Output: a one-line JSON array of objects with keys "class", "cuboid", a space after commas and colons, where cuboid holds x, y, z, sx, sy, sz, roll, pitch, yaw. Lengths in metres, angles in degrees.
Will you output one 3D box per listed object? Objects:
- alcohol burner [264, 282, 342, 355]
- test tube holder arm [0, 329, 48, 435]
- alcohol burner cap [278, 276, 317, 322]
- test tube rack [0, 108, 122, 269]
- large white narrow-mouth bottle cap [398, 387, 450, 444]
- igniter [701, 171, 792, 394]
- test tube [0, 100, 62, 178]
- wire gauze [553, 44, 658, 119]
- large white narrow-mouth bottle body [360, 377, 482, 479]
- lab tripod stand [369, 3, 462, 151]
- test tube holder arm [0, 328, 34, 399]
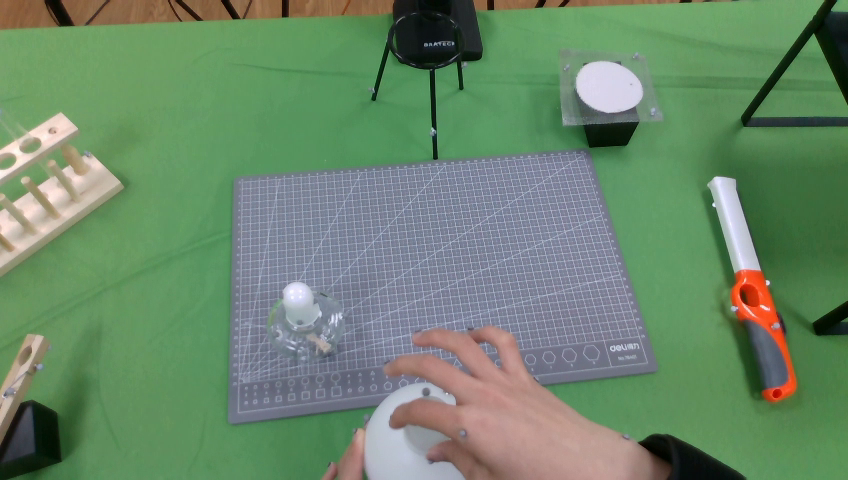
[{"class": "alcohol burner", "cuboid": [-0.122, 0.070, 0.602, 0.078, 0.120, 0.077, 2, 60, -3]}, {"class": "test tube holder arm", "cuboid": [-0.384, 0.165, 0.543, 0.013, 0.015, 0.177, 7, 63, 6]}, {"class": "alcohol burner cap", "cuboid": [-0.120, 0.054, 0.570, 0.034, 0.048, 0.033, 0, 57, 0]}, {"class": "test tube rack", "cuboid": [-0.467, -0.031, 0.657, 0.066, 0.086, 0.242, 40, 67, 17]}, {"class": "large white narrow-mouth bottle cap", "cuboid": [0.000, 0.124, 0.430, 0.038, 0.024, 0.037, 1, 61, -2]}, {"class": "igniter", "cuboid": [0.367, 0.039, 0.695, 0.057, 0.025, 0.274, 5, 62, -12]}, {"class": "test tube", "cuboid": [-0.431, -0.114, 0.646, 0.017, 0.151, 0.017, 0, 60, 1]}, {"class": "wire gauze", "cuboid": [0.228, -0.203, 0.772, 0.121, 0.011, 0.124, 1, 62, -2]}, {"class": "large white narrow-mouth bottle body", "cuboid": [-0.003, 0.171, 0.513, 0.102, 0.196, 0.101, 1, 61, -2]}, {"class": "lab tripod stand", "cuboid": [-0.001, -0.205, 0.746, 0.148, 0.132, 0.147, 2, 63, -4]}, {"class": "test tube holder arm", "cuboid": [-0.383, 0.125, 0.564, 0.010, 0.015, 0.087, 5, 63, 5]}]
